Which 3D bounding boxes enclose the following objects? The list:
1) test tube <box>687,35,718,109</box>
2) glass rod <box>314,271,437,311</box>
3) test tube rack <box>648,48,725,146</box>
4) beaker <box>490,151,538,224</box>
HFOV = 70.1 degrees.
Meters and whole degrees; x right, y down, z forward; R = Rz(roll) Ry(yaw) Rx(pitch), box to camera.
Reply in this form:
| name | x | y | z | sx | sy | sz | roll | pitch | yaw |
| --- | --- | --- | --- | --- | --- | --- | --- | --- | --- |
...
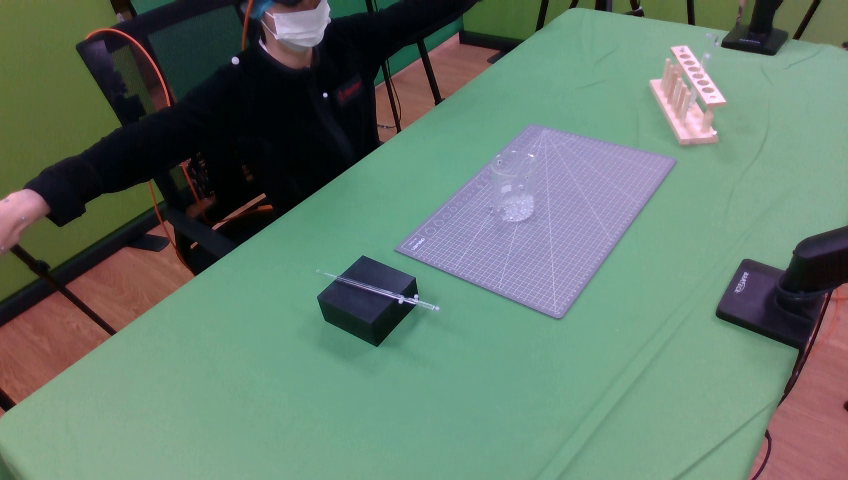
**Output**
| name | x | y | z | sx | sy | sz | roll | pitch | yaw |
| --- | --- | --- | --- | --- | --- | --- | --- | --- | --- |
| test tube | 0.521 | -0.313 | 1.137 | 0.017 | 0.151 | 0.017 | 0 | 44 | 0 |
| glass rod | -0.072 | 0.068 | 0.837 | 0.198 | 0.008 | 0.008 | 14 | 44 | 24 |
| test tube rack | 0.508 | -0.285 | 1.186 | 0.067 | 0.085 | 0.241 | -4 | 40 | 6 |
| beaker | 0.151 | -0.084 | 0.988 | 0.084 | 0.101 | 0.073 | -24 | 43 | -20 |
